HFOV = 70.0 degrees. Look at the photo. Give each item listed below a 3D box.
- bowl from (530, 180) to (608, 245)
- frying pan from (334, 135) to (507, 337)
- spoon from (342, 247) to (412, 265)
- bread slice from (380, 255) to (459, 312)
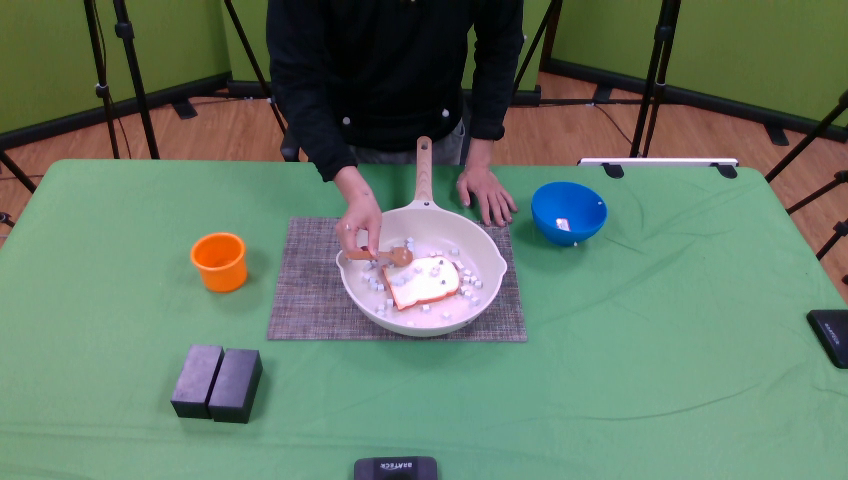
[{"bbox_3d":[0.284,-0.044,1.222,0.151,0.077,0.150,2,46,-2],"label":"bowl"},{"bbox_3d":[-0.004,-0.026,1.160,0.307,0.103,0.485,4,55,-2],"label":"frying pan"},{"bbox_3d":[-0.079,0.026,1.063,0.194,0.021,0.041,6,52,-61],"label":"spoon"},{"bbox_3d":[-0.005,0.074,1.119,0.134,0.018,0.106,-16,50,-16],"label":"bread slice"}]
